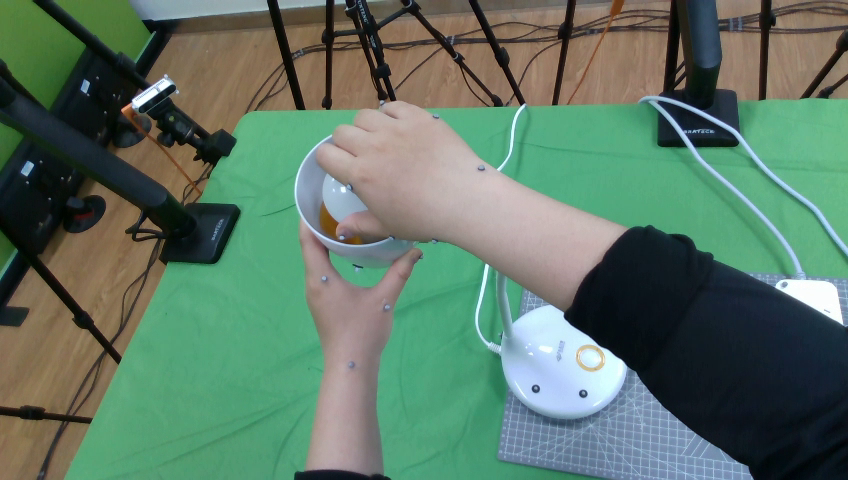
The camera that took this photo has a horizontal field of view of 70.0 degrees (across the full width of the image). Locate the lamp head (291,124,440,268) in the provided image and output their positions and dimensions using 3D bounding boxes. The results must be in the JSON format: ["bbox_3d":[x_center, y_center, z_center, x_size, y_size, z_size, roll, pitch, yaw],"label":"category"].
[{"bbox_3d":[-0.044,-0.024,0.535,0.112,0.124,0.111,-4,65,9],"label":"lamp head"}]

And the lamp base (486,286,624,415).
[{"bbox_3d":[0.149,0.111,0.740,0.178,0.182,0.159,-3,56,17],"label":"lamp base"}]

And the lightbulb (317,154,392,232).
[{"bbox_3d":[-0.053,-0.032,0.506,0.059,0.108,0.059,-1,73,5],"label":"lightbulb"}]

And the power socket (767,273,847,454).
[{"bbox_3d":[0.462,0.138,0.726,0.072,0.033,0.225,3,57,16],"label":"power socket"}]
